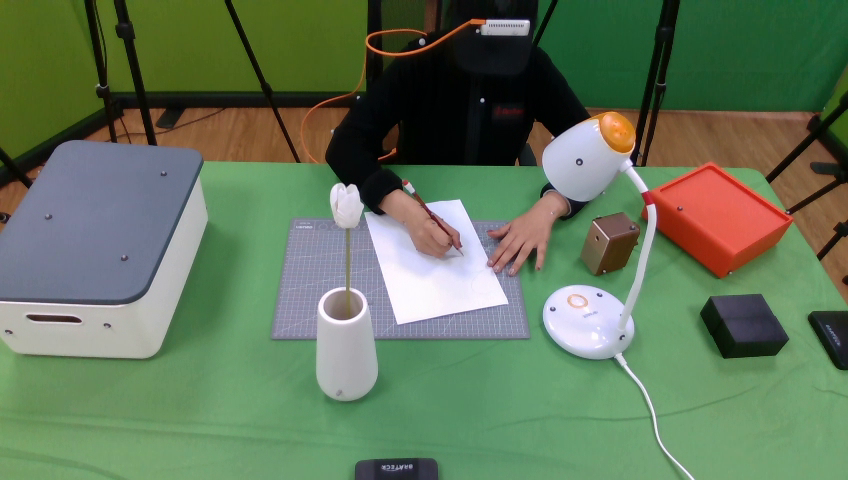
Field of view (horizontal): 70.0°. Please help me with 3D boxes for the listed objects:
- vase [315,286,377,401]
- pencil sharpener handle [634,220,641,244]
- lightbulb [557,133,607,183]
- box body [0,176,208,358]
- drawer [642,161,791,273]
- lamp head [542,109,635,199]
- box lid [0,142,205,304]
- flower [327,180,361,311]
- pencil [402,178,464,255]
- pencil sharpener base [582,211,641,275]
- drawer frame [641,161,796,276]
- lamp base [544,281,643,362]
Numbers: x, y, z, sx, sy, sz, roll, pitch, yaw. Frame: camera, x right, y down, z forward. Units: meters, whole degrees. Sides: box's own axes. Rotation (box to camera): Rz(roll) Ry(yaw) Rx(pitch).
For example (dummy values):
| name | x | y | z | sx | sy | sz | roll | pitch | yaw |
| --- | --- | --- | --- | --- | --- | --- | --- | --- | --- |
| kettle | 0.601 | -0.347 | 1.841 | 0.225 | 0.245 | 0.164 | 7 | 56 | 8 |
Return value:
| name | x | y | z | sx | sy | sz | roll | pitch | yaw |
| --- | --- | --- | --- | --- | --- | --- | --- | --- | --- |
| vase | -0.119 | 0.159 | 0.911 | 0.098 | 0.201 | 0.097 | 2 | 47 | -2 |
| pencil sharpener handle | 0.405 | -0.015 | 1.162 | 0.031 | 0.068 | 0.035 | -15 | 46 | -18 |
| lightbulb | 0.243 | -0.127 | 0.917 | 0.059 | 0.108 | 0.059 | 6 | 67 | -13 |
| box body | -0.546 | 0.017 | 1.045 | 0.254 | 0.161 | 0.361 | 2 | 46 | -2 |
| drawer | 0.596 | -0.051 | 1.246 | 0.194 | 0.073 | 0.210 | -23 | 52 | -25 |
| lamp head | 0.253 | -0.131 | 0.893 | 0.113 | 0.123 | 0.112 | 10 | 66 | -24 |
| box lid | -0.534 | -0.044 | 0.995 | 0.263 | 0.015 | 0.369 | 3 | 45 | -3 |
| flower | -0.111 | 0.086 | 0.867 | 0.044 | 0.363 | 0.038 | 22 | 33 | 36 |
| pencil | 0.020 | -0.042 | 1.150 | 0.012 | 0.195 | 0.012 | -34 | 21 | 15 |
| pencil sharpener base | 0.357 | 0.005 | 1.156 | 0.077 | 0.107 | 0.061 | -15 | 48 | -18 |
| drawer frame | 0.599 | -0.051 | 1.244 | 0.202 | 0.083 | 0.212 | -24 | 53 | -25 |
| lamp base | 0.303 | 0.095 | 1.014 | 0.161 | 0.181 | 0.178 | -24 | 54 | -24 |
